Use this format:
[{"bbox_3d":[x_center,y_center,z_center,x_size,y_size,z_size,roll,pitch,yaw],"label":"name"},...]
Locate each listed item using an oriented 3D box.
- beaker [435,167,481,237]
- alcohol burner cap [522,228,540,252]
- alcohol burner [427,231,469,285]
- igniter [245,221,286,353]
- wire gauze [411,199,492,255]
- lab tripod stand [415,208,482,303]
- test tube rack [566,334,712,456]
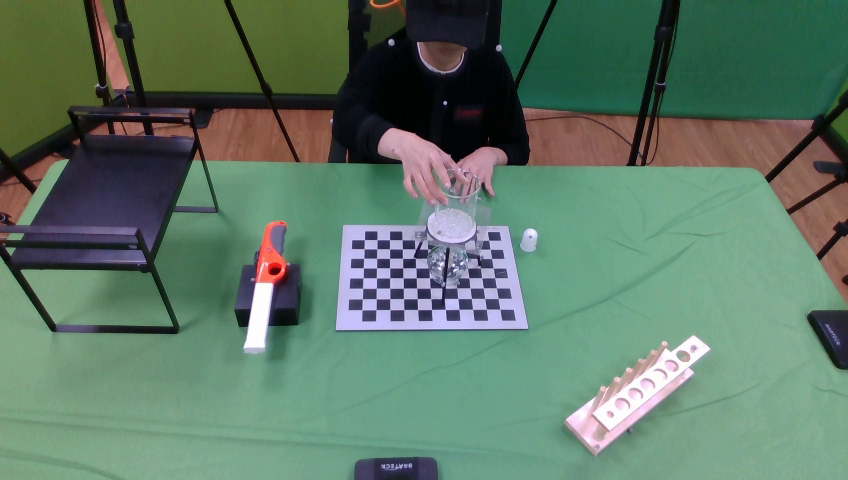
[{"bbox_3d":[0.054,-0.063,1.016,0.074,0.101,0.083,5,45,2],"label":"beaker"},{"bbox_3d":[0.214,-0.003,1.198,0.034,0.048,0.033,1,46,-1],"label":"alcohol burner cap"},{"bbox_3d":[0.046,0.027,1.103,0.078,0.119,0.077,3,45,-3],"label":"alcohol burner"},{"bbox_3d":[-0.270,0.070,1.040,0.057,0.025,0.274,2,48,-6],"label":"igniter"},{"bbox_3d":[0.049,-0.029,1.052,0.125,0.011,0.121,10,44,12],"label":"wire gauze"},{"bbox_3d":[0.043,0.019,1.097,0.148,0.132,0.147,0,46,0],"label":"lab tripod stand"},{"bbox_3d":[0.338,0.228,0.951,0.242,0.085,0.066,-26,52,-26],"label":"test tube rack"}]
